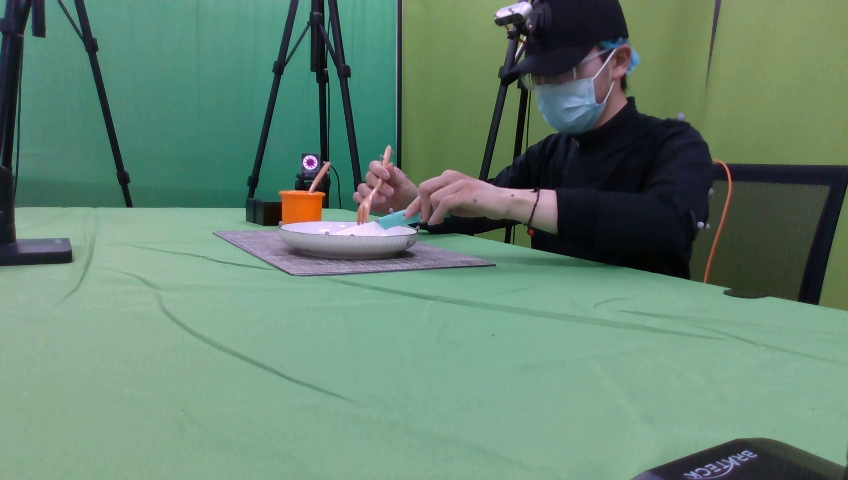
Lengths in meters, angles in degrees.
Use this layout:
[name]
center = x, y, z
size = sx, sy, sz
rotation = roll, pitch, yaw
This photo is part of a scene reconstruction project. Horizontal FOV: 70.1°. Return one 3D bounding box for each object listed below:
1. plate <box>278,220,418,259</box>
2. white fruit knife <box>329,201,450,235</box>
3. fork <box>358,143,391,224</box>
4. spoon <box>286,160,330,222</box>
[plate]
center = -0.114, -0.002, 0.914
size = 0.209, 0.038, 0.209
rotation = 2, 7, 0
[white fruit knife]
center = -0.064, -0.024, 0.904
size = 0.207, 0.027, 0.016
rotation = -15, 6, 8
[fork]
center = -0.077, -0.096, 0.988
size = 0.028, 0.019, 0.207
rotation = -30, 29, 34
[spoon]
center = -0.233, -0.101, 1.252
size = 0.041, 0.193, 0.022
rotation = 3, -38, 23
